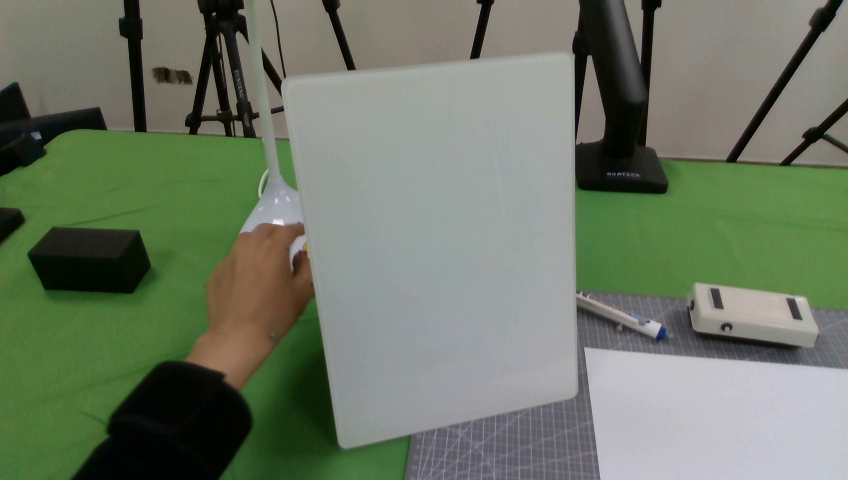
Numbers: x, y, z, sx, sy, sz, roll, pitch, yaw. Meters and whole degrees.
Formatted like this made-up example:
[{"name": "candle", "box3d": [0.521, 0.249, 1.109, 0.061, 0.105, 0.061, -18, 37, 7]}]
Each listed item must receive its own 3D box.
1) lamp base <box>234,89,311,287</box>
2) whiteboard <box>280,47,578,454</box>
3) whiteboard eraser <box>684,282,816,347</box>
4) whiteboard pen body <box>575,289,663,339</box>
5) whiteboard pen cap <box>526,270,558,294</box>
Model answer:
[{"name": "lamp base", "box3d": [-0.150, -0.066, 0.678, 0.161, 0.182, 0.177, -28, 43, -32]}, {"name": "whiteboard", "box3d": [0.006, -0.002, 0.538, 0.218, 0.307, 0.142, -9, 19, -11]}, {"name": "whiteboard eraser", "box3d": [0.321, 0.076, 0.605, 0.112, 0.042, 0.055, 7, 36, 9]}, {"name": "whiteboard pen body", "box3d": [0.178, 0.068, 0.629, 0.140, 0.017, 0.017, 23, 42, 22]}, {"name": "whiteboard pen cap", "box3d": [0.128, 0.046, 0.652, 0.033, 0.018, 0.018, 23, 42, 20]}]
